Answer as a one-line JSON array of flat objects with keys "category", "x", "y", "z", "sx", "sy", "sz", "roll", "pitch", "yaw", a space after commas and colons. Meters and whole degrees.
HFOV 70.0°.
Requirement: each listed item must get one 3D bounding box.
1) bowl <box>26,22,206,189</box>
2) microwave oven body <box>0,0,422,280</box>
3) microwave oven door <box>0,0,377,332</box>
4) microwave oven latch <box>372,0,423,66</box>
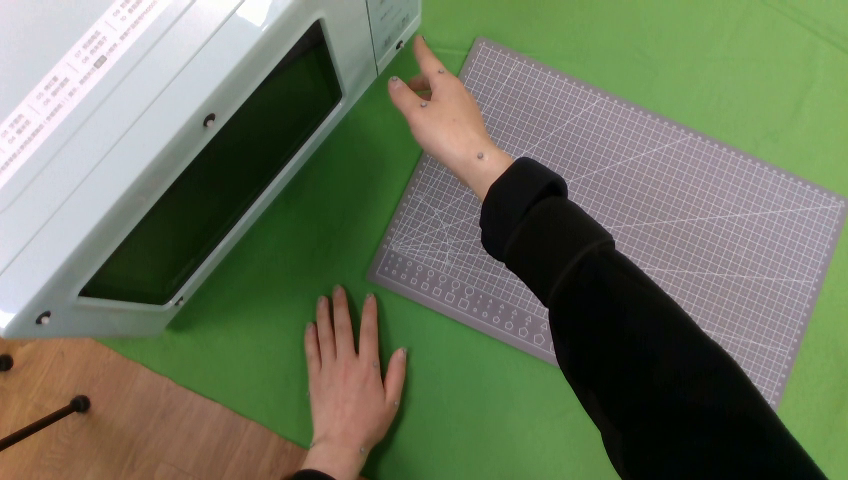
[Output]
[{"category": "bowl", "x": -0.265, "y": -0.111, "z": 0.556, "sx": 0.151, "sy": 0.077, "sz": 0.150, "roll": 0, "pitch": 79, "yaw": 0}, {"category": "microwave oven body", "x": -0.259, "y": -0.192, "z": 0.535, "sx": 0.325, "sy": 0.260, "sz": 0.441, "roll": 38, "pitch": 84, "yaw": 3}, {"category": "microwave oven door", "x": -0.171, "y": -0.070, "z": 0.517, "sx": 0.039, "sy": 0.244, "sz": 0.355, "roll": 38, "pitch": 83, "yaw": 4}, {"category": "microwave oven latch", "x": -0.034, "y": -0.225, "z": 0.642, "sx": 0.030, "sy": 0.029, "sz": 0.079, "roll": 41, "pitch": 84, "yaw": 4}]
